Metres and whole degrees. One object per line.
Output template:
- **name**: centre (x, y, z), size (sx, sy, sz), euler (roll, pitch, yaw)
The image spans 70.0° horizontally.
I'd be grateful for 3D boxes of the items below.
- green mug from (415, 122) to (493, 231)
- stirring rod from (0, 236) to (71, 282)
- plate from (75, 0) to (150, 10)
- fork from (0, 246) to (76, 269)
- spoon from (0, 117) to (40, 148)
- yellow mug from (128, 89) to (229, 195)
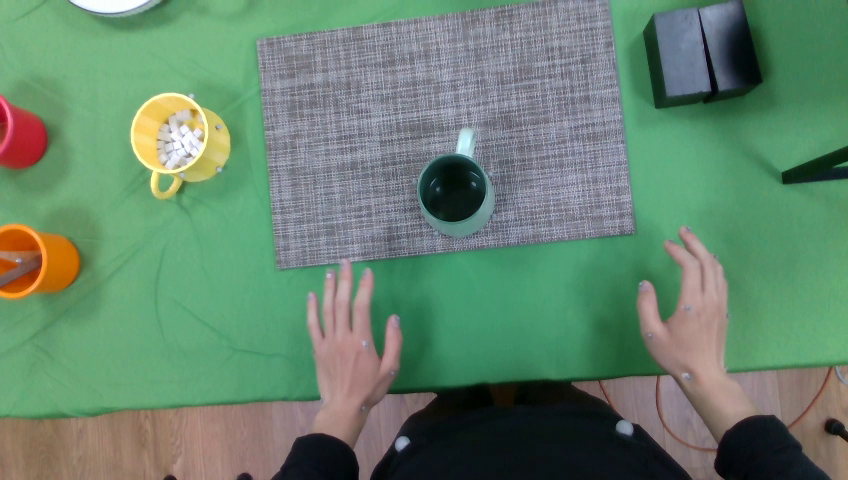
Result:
- **green mug**: centre (0.038, -0.075, 0.707), size (0.092, 0.105, 0.125), euler (11, 88, 7)
- **stirring rod**: centre (-0.519, 0.043, 0.742), size (0.014, 0.006, 0.176), euler (45, 50, 5)
- **plate**: centre (-0.404, -0.402, 0.801), size (0.207, 0.039, 0.207), euler (0, 88, 6)
- **fork**: centre (-0.544, 0.008, 0.740), size (0.209, 0.018, 0.028), euler (14, 84, -37)
- **spoon**: centre (-0.594, -0.147, 0.755), size (0.195, 0.021, 0.041), euler (4, 85, -38)
- **yellow mug**: centre (-0.314, -0.119, 0.766), size (0.100, 0.064, 0.131), euler (20, 91, 5)
